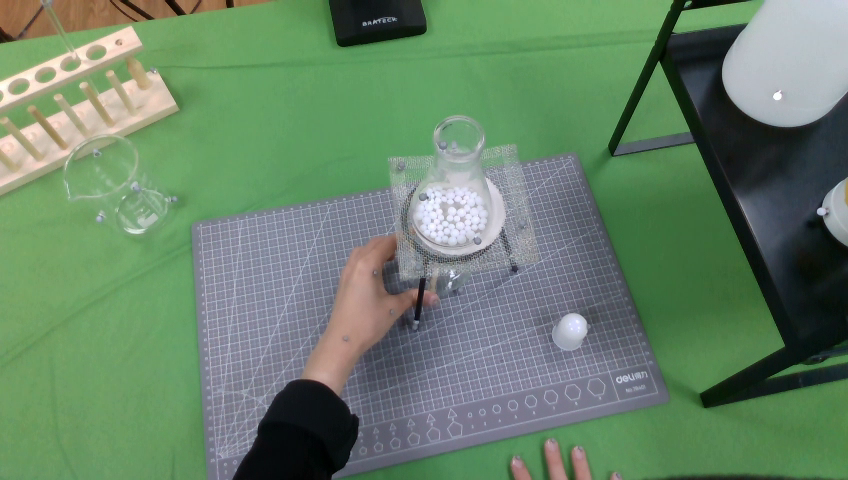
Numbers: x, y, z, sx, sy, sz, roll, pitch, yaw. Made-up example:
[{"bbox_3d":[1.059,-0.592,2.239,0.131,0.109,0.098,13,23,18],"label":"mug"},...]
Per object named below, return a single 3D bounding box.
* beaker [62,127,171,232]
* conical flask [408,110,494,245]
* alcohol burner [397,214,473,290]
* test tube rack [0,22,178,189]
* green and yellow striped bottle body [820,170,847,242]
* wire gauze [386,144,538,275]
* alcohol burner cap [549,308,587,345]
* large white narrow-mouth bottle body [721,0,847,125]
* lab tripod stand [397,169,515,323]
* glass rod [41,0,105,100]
[{"bbox_3d":[-0.322,-0.057,0.642,0.073,0.101,0.084,33,70,14],"label":"beaker"},{"bbox_3d":[0.024,-0.052,0.481,0.075,0.123,0.074,0,65,0],"label":"conical flask"},{"bbox_3d":[0.012,0.006,0.604,0.078,0.120,0.077,1,65,-1],"label":"alcohol burner"},{"bbox_3d":[-0.421,-0.149,0.691,0.242,0.086,0.066,-30,69,-13],"label":"test tube rack"},{"bbox_3d":[0.346,-0.046,0.430,0.063,0.120,0.062,0,65,1],"label":"green and yellow striped bottle body"},{"bbox_3d":[0.031,-0.032,0.538,0.121,0.011,0.124,-5,64,-5],"label":"wire gauze"},{"bbox_3d":[0.146,0.084,0.608,0.034,0.048,0.033,0,66,0],"label":"alcohol burner cap"},{"bbox_3d":[0.309,-0.181,0.452,0.102,0.196,0.101,0,63,0],"label":"large white narrow-mouth bottle body"},{"bbox_3d":[0.025,0.000,0.595,0.148,0.132,0.147,1,64,-1],"label":"lab tripod stand"},{"bbox_3d":[-0.382,-0.217,0.649,0.008,0.201,0.008,2,63,-4],"label":"glass rod"}]
